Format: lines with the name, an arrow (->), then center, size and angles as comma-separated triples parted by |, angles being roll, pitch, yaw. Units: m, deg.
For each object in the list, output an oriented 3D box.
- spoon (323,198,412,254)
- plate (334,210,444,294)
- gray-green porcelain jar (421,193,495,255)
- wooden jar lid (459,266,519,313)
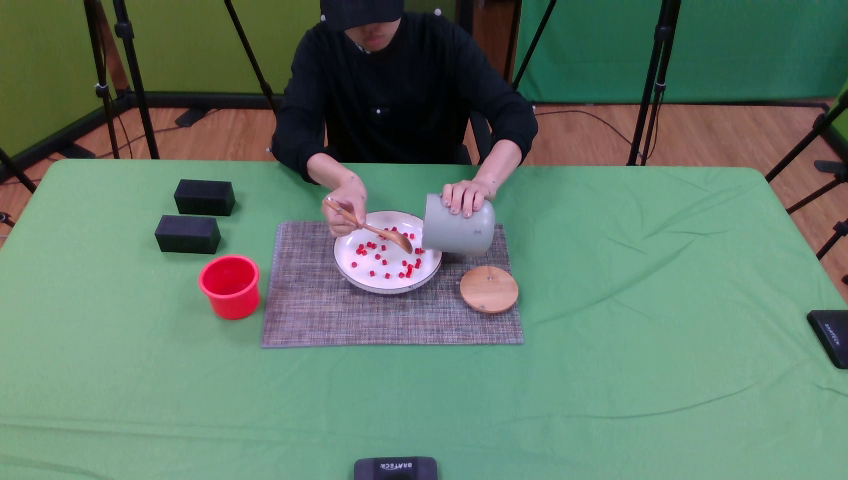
spoon -> -0.099, -0.024, 1.089 | 0.194, 0.021, 0.041 | 26, 34, -23
plate -> -0.066, 0.026, 1.150 | 0.208, 0.039, 0.206 | 2, 46, -2
gray-green porcelain jar -> 0.062, -0.028, 1.105 | 0.126, 0.106, 0.105 | 5, 46, -1
wooden jar lid -> 0.118, 0.093, 1.111 | 0.108, 0.021, 0.107 | 1, 47, -1
